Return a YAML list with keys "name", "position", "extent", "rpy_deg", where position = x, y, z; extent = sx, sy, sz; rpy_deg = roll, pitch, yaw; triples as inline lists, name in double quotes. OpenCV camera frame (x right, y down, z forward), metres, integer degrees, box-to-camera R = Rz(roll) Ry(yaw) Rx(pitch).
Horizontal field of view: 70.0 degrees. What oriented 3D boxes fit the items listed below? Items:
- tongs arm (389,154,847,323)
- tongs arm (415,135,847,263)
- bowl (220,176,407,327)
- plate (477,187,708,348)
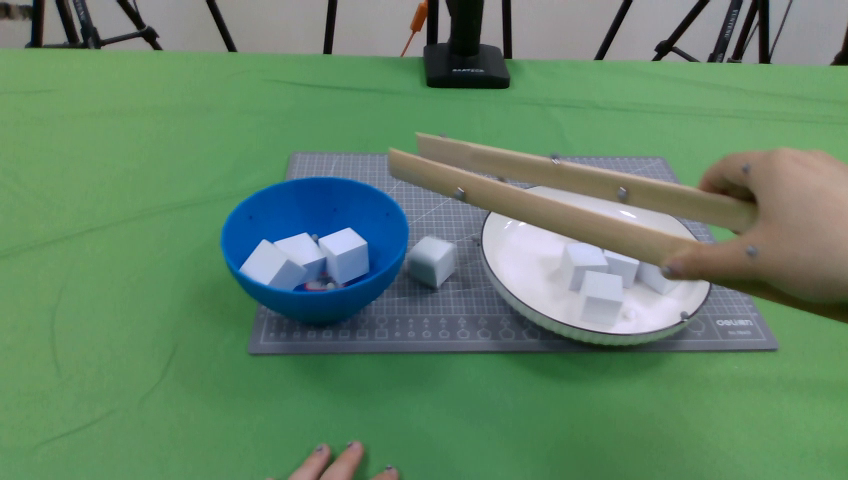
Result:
- name: "tongs arm"
  position: [0.137, -0.003, 0.377]
  extent: [0.384, 0.028, 0.028]
  rpy_deg: [18, 39, 28]
- name: "tongs arm"
  position: [0.151, -0.016, 0.393]
  extent: [0.382, 0.027, 0.050]
  rpy_deg: [15, 41, 25]
- name: "bowl"
  position: [-0.090, 0.020, 0.515]
  extent: [0.151, 0.077, 0.150]
  rpy_deg: [3, 41, -2]
- name: "plate"
  position: [0.151, 0.023, 0.562]
  extent: [0.208, 0.039, 0.205]
  rpy_deg: [2, 41, -2]
